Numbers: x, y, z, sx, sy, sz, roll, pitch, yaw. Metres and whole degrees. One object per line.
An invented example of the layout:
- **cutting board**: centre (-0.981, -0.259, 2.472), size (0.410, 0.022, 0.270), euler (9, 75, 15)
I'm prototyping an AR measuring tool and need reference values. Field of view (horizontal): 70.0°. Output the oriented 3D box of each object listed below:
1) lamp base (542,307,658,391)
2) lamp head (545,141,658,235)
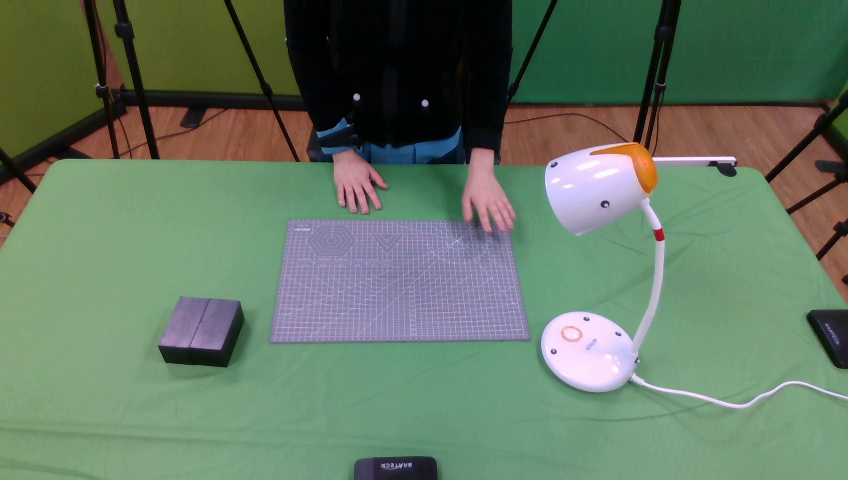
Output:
- **lamp base**: centre (0.296, 0.138, 0.975), size (0.178, 0.181, 0.160), euler (28, 51, 18)
- **lamp head**: centre (0.237, -0.072, 0.783), size (0.123, 0.113, 0.112), euler (-16, 33, 37)
